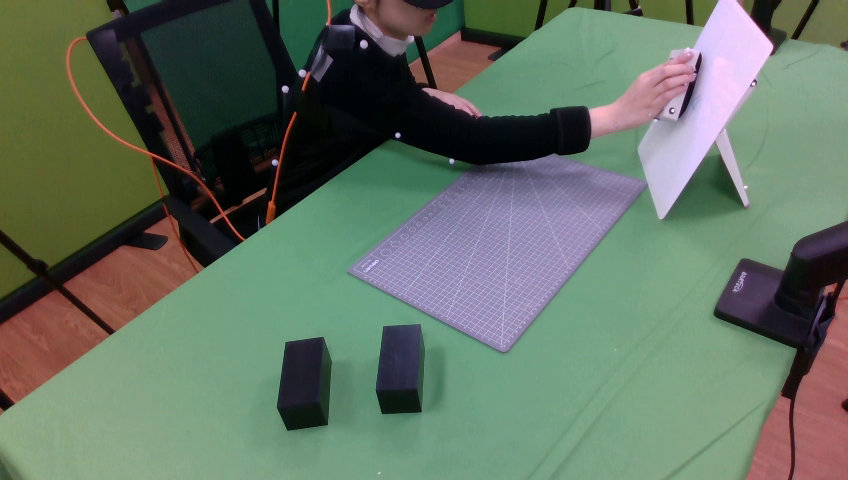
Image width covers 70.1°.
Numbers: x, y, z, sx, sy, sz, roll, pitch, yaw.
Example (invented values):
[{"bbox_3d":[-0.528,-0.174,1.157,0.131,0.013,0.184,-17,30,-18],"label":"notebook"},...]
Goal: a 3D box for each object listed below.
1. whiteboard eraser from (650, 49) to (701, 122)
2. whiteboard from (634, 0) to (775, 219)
[{"bbox_3d":[0.406,-0.247,0.973,0.042,0.112,0.055,13,10,-14],"label":"whiteboard eraser"},{"bbox_3d":[0.485,-0.193,0.957,0.144,0.305,0.216,14,41,-4],"label":"whiteboard"}]
